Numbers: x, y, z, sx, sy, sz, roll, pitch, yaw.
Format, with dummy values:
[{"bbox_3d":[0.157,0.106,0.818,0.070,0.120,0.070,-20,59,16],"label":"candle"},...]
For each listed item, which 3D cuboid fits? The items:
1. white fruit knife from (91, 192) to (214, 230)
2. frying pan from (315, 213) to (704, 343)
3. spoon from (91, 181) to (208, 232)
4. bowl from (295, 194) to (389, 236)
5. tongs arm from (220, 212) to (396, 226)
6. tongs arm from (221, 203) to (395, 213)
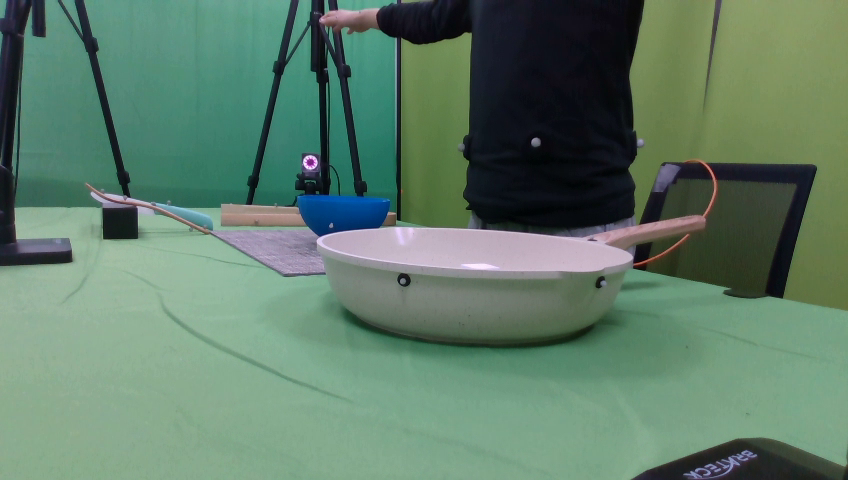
[{"bbox_3d":[-0.477,-0.055,1.077,0.208,0.027,0.016,15,-5,-30],"label":"white fruit knife"},{"bbox_3d":[0.133,0.014,0.629,0.490,0.102,0.305,-11,14,-29],"label":"frying pan"},{"bbox_3d":[-0.461,-0.053,1.023,0.195,0.021,0.041,21,22,-24],"label":"spoon"},{"bbox_3d":[-0.132,-0.032,0.980,0.151,0.077,0.151,2,7,0],"label":"bowl"},{"bbox_3d":[-0.233,-0.046,1.292,0.389,0.028,0.028,-1,6,-27],"label":"tongs arm"},{"bbox_3d":[-0.258,-0.061,1.368,0.386,0.026,0.050,2,8,-14],"label":"tongs arm"}]
